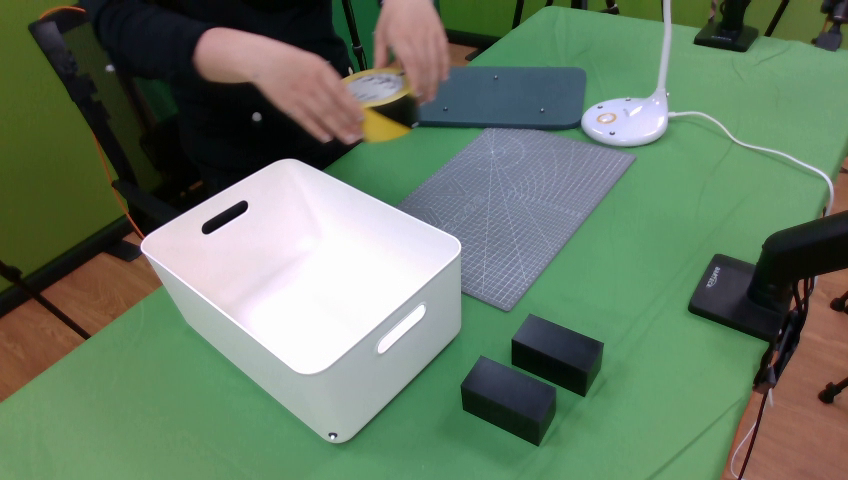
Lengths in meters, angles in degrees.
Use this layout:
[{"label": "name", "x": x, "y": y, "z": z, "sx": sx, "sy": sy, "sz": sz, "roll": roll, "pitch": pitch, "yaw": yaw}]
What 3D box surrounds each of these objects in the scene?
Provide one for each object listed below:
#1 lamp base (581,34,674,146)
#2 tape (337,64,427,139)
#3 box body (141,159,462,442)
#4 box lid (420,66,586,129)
[{"label": "lamp base", "x": 0.393, "y": -0.291, "z": 1.129, "sx": 0.180, "sy": 0.181, "sz": 0.159, "roll": -11, "pitch": 41, "yaw": -8}, {"label": "tape", "x": -0.055, "y": -0.187, "z": 0.808, "sx": 0.117, "sy": 0.053, "sz": 0.116, "roll": -5, "pitch": 41, "yaw": 5}, {"label": "box body", "x": -0.153, "y": 0.063, "z": 0.809, "sx": 0.361, "sy": 0.161, "sz": 0.255, "roll": 27, "pitch": 51, "yaw": 33}, {"label": "box lid", "x": 0.163, "y": -0.317, "z": 1.322, "sx": 0.370, "sy": 0.015, "sz": 0.263, "roll": 5, "pitch": 42, "yaw": 14}]
